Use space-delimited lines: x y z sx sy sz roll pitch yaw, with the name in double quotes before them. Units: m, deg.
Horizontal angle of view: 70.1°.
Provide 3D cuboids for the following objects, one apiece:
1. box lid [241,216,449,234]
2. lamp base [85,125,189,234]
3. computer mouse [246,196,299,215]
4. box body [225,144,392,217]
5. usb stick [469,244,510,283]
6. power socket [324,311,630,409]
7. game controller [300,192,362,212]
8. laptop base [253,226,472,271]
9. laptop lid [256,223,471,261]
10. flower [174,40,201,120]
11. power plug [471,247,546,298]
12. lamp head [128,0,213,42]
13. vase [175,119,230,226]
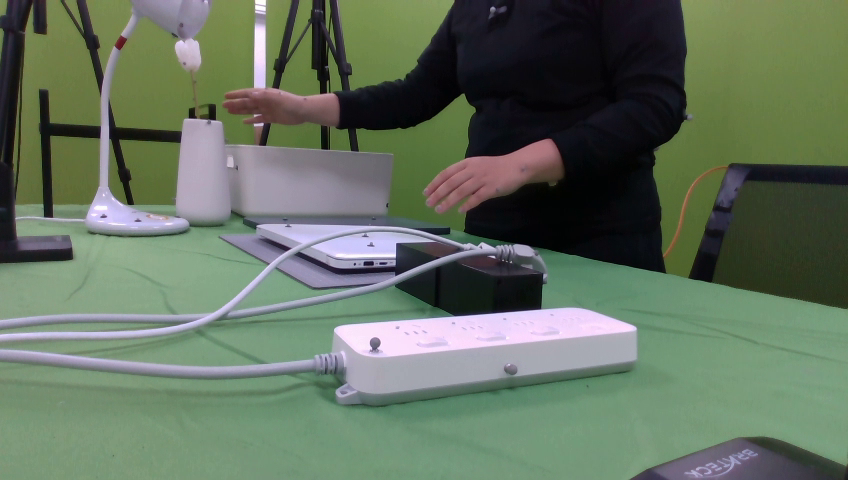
"box lid" -0.162 -0.030 1.233 0.373 0.015 0.262 -1 8 -32
"lamp base" -0.498 -0.105 1.026 0.179 0.180 0.160 1 7 3
"computer mouse" -0.355 -0.082 1.418 0.117 0.041 0.063 1 9 7
"box body" -0.289 -0.143 1.474 0.366 0.160 0.253 -1 9 -29
"usb stick" 0.080 0.029 0.673 0.059 0.021 0.027 28 25 -30
"power socket" 0.042 0.075 0.410 0.228 0.032 0.072 -1 8 -26
"game controller" -0.241 -0.097 1.550 0.155 0.051 0.097 2 8 5
"laptop base" -0.095 0.011 0.911 0.237 0.023 0.352 2 6 -32
"laptop lid" -0.093 0.000 0.911 0.243 0.013 0.355 2 7 -30
"flower" -0.431 -0.211 1.165 0.044 0.361 0.038 -9 -5 -23
"power plug" 0.081 0.030 0.584 0.072 0.052 0.035 11 29 9
"lamp head" -0.423 -0.394 0.980 0.123 0.112 0.112 20 7 -3
"vase" -0.425 -0.128 1.159 0.098 0.200 0.098 2 9 0
